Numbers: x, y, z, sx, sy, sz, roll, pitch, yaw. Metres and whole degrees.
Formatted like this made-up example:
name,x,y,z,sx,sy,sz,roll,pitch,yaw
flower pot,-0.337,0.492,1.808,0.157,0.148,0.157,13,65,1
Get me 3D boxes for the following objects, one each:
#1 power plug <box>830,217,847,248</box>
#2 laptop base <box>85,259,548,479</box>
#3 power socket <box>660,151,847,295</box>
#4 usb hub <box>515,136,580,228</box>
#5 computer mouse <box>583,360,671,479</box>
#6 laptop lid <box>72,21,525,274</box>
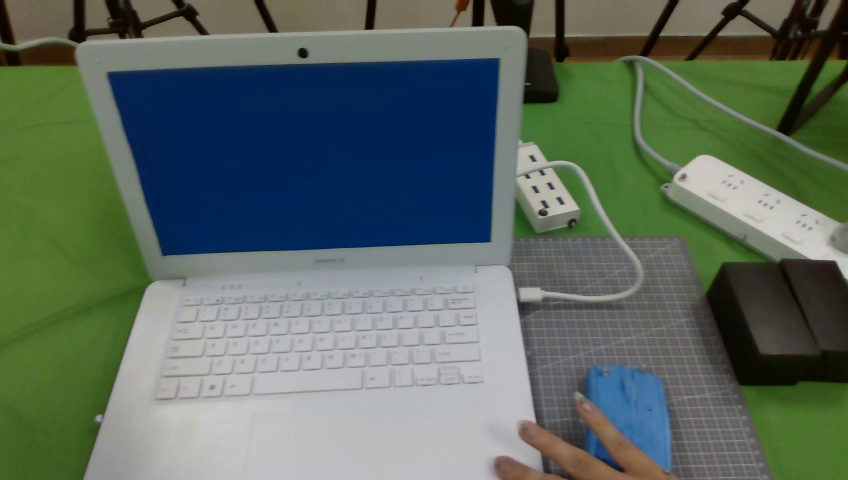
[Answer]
name,x,y,z,sx,sy,sz,roll,pitch,yaw
power plug,0.433,-0.015,0.596,0.072,0.053,0.035,-26,52,-19
laptop base,-0.086,0.118,0.521,0.354,0.023,0.233,-2,51,-1
power socket,0.362,-0.024,0.636,0.072,0.033,0.224,-34,55,-27
usb hub,0.125,-0.068,0.683,0.049,0.025,0.123,-13,49,-11
computer mouse,0.160,0.143,0.479,0.062,0.041,0.116,8,44,11
laptop lid,-0.093,-0.067,0.532,0.357,0.244,0.013,-4,35,0
